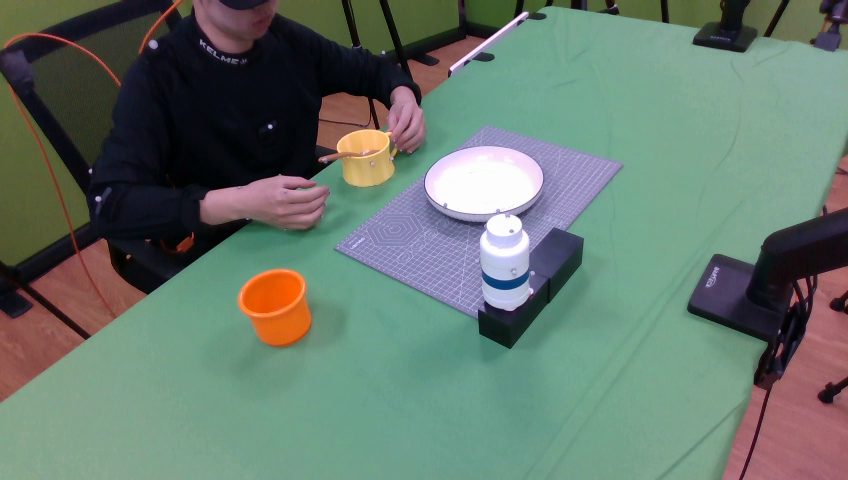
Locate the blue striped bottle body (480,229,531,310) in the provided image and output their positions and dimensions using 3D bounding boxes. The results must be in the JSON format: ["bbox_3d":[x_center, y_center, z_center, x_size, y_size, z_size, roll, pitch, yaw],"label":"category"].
[{"bbox_3d":[0.104,0.027,0.769,0.063,0.121,0.063,-4,41,4],"label":"blue striped bottle body"}]

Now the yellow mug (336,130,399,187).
[{"bbox_3d":[-0.098,-0.162,1.139,0.131,0.064,0.099,-34,47,-29],"label":"yellow mug"}]

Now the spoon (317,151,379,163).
[{"bbox_3d":[-0.132,-0.149,1.080,0.041,0.021,0.195,9,11,26],"label":"spoon"}]

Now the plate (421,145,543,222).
[{"bbox_3d":[0.101,-0.094,1.048,0.207,0.039,0.206,-4,41,4],"label":"plate"}]

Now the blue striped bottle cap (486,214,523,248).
[{"bbox_3d":[0.098,-0.011,0.735,0.044,0.021,0.044,-3,38,3],"label":"blue striped bottle cap"}]
